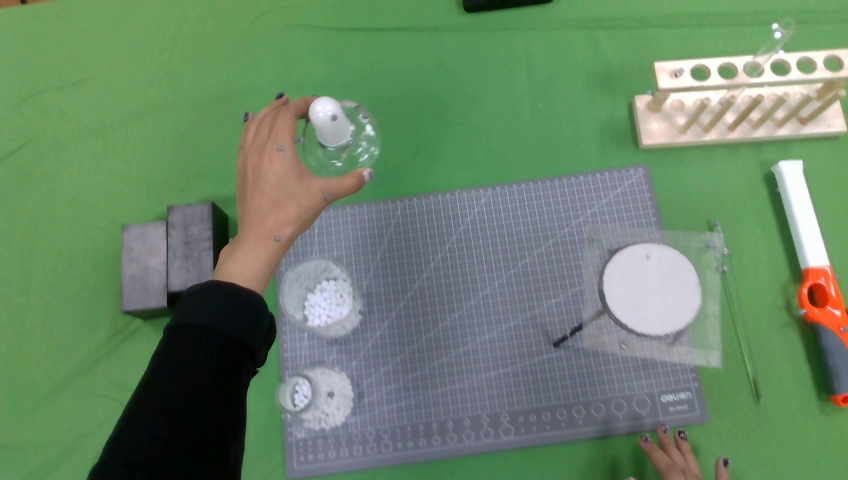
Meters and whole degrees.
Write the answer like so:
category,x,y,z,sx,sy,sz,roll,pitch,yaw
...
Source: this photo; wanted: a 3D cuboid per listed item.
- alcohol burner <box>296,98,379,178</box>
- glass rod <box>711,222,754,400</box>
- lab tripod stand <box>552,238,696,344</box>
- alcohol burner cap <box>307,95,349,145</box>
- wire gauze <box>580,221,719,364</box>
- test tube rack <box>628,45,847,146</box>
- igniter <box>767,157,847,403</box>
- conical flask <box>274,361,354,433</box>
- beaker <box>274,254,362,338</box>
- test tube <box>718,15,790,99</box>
category,x,y,z,sx,sy,sz,roll,pitch,yaw
alcohol burner,-0.083,-0.099,0.558,0.078,0.119,0.077,-1,82,4
glass rod,0.342,0.076,0.673,0.008,0.008,0.198,-6,77,0
lab tripod stand,0.203,0.062,0.612,0.148,0.132,0.147,0,76,2
alcohol burner cap,-0.084,-0.107,0.522,0.034,0.048,0.033,0,75,2
wire gauze,0.204,0.044,0.547,0.125,0.011,0.121,6,76,4
test tube rack,0.372,-0.165,0.699,0.242,0.085,0.066,-4,74,1
igniter,0.431,0.038,0.671,0.057,0.025,0.275,-3,74,-9
conical flask,-0.115,0.154,0.602,0.075,0.122,0.075,0,74,2
beaker,-0.104,0.065,0.638,0.084,0.101,0.074,28,77,9
test tube,0.352,-0.191,0.655,0.017,0.151,0.017,-1,74,4
